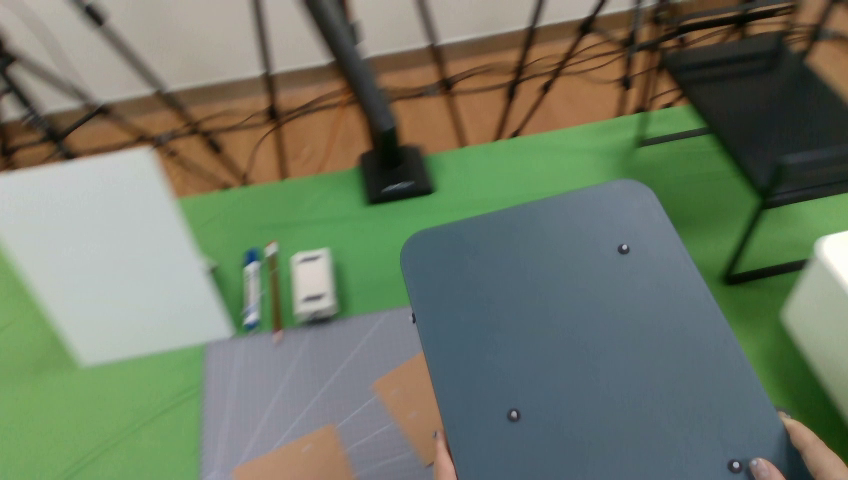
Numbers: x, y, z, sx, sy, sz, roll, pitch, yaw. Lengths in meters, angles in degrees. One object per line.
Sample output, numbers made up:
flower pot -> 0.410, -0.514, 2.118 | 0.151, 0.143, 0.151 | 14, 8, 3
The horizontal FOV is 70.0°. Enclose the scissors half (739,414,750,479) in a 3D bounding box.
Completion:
scissors half -> 0.340, 0.276, 0.658 | 0.013, 0.040, 0.174 | 12, 75, 21

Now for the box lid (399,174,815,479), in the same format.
box lid -> 0.139, 0.111, 0.518 | 0.263, 0.015, 0.367 | -15, 60, -4

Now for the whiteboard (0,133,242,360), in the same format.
whiteboard -> -0.393, -0.012, 0.837 | 0.217, 0.308, 0.142 | -10, 33, -2

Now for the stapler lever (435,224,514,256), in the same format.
stapler lever -> 0.074, -0.004, 0.900 | 0.118, 0.040, 0.026 | -14, 55, -7

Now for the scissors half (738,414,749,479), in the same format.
scissors half -> 0.334, 0.266, 0.641 | 0.012, 0.040, 0.174 | 9, 57, 25

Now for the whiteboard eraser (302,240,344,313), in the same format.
whiteboard eraser -> -0.150, 0.053, 0.894 | 0.055, 0.042, 0.111 | -11, 53, -2

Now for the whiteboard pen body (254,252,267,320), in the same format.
whiteboard pen body -> -0.246, 0.058, 0.913 | 0.017, 0.017, 0.139 | -9, 52, -2

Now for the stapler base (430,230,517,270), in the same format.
stapler base -> 0.075, 0.011, 0.918 | 0.131, 0.024, 0.041 | -14, 55, -8

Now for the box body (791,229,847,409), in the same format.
box body -> 0.628, 0.157, 0.670 | 0.254, 0.162, 0.360 | -10, 53, -2

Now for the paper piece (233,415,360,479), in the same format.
paper piece -> -0.147, 0.295, 0.726 | 0.135, 0.004, 0.134 | -22, 55, -12

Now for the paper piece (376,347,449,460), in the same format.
paper piece -> 0.027, 0.193, 0.790 | 0.136, 0.009, 0.137 | -30, 58, -13

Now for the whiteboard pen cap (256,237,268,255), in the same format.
whiteboard pen cap -> -0.254, 0.013, 0.948 | 0.018, 0.018, 0.033 | -11, 51, -3

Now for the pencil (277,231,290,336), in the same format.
pencil -> -0.210, 0.061, 0.912 | 0.012, 0.012, 0.192 | -12, 53, -4
